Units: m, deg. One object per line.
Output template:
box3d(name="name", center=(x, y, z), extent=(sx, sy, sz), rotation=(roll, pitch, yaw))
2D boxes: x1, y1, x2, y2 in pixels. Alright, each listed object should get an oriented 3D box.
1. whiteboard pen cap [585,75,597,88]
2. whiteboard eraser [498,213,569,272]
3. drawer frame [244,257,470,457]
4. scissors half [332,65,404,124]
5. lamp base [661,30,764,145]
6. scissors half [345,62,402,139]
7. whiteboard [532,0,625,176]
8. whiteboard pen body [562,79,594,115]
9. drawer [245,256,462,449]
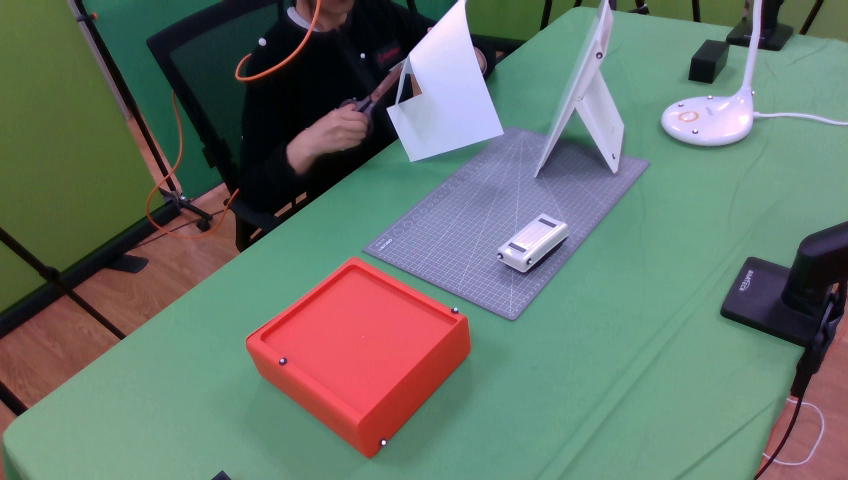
box3d(name="whiteboard pen cap", center=(0.362, -0.343, 1.310), extent=(0.018, 0.018, 0.033), rotation=(20, 54, 30))
box3d(name="whiteboard eraser", center=(0.168, 0.006, 0.923), extent=(0.113, 0.042, 0.055), rotation=(-36, 48, -28))
box3d(name="drawer frame", center=(-0.084, 0.138, 0.788), extent=(0.212, 0.083, 0.202), rotation=(25, 50, 33))
box3d(name="scissors half", center=(-0.108, -0.282, 1.157), extent=(0.175, 0.040, 0.013), rotation=(-32, 1, 13))
box3d(name="lamp base", center=(0.535, -0.287, 1.096), extent=(0.179, 0.181, 0.159), rotation=(-10, 40, -4))
box3d(name="scissors half", center=(-0.093, -0.266, 1.157), extent=(0.040, 0.175, 0.013), rotation=(35, 13, 0))
box3d(name="whiteboard", center=(0.320, -0.259, 1.050), extent=(0.144, 0.306, 0.217), rotation=(21, 45, 5))
box3d(name="whiteboard pen body", center=(0.328, -0.306, 1.277), extent=(0.017, 0.017, 0.141), rotation=(20, 52, 30))
box3d(name="drawer", center=(-0.089, 0.136, 0.792), extent=(0.210, 0.073, 0.195), rotation=(26, 51, 34))
